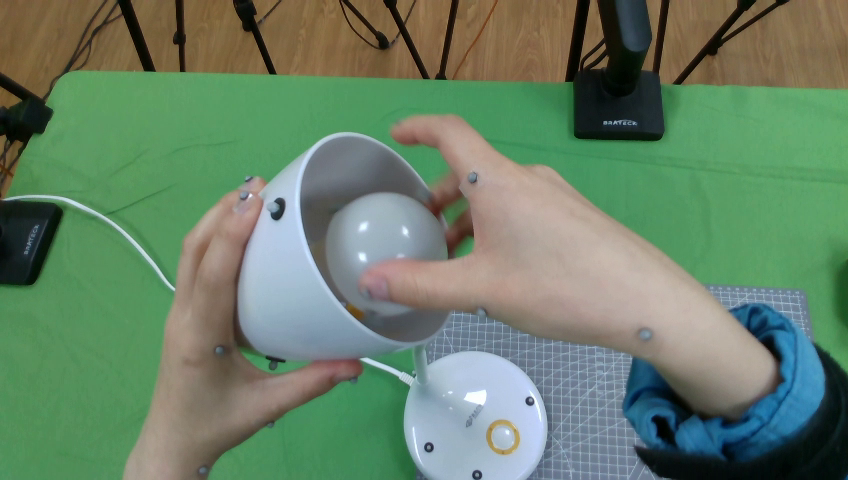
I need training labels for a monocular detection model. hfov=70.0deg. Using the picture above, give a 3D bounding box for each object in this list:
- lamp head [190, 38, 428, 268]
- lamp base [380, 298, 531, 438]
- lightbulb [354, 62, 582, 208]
[{"bbox_3d":[-0.072,-0.031,0.339,0.113,0.123,0.111,19,59,-33],"label":"lamp head"},{"bbox_3d":[0.024,0.112,0.628,0.179,0.181,0.159,11,68,11],"label":"lamp base"},{"bbox_3d":[0.015,-0.042,0.265,0.107,0.060,0.059,-5,64,30],"label":"lightbulb"}]
